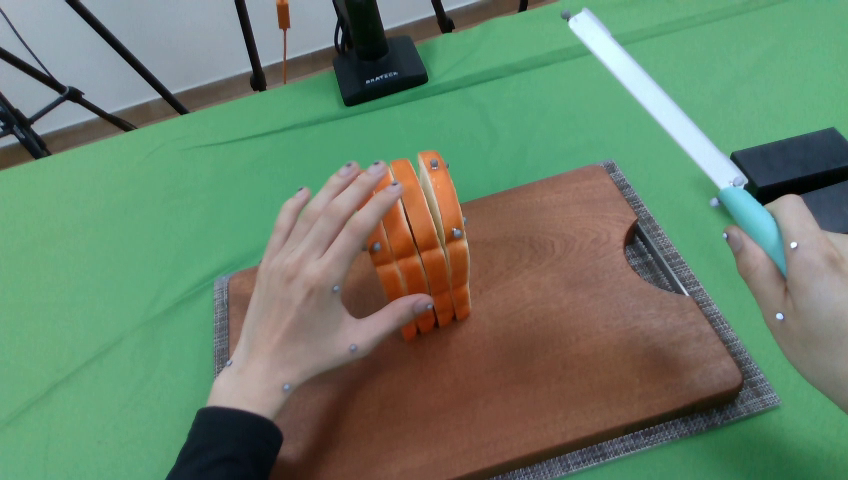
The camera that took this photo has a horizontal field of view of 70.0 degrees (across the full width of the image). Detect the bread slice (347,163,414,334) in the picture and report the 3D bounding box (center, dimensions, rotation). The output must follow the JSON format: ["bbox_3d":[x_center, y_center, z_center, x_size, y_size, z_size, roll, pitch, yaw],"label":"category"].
[{"bbox_3d":[-0.038,0.000,0.515,0.018,0.136,0.106,-18,47,-2],"label":"bread slice"}]

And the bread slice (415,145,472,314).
[{"bbox_3d":[0.016,-0.014,0.516,0.019,0.133,0.103,-15,49,-6],"label":"bread slice"}]

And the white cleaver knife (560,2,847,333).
[{"bbox_3d":[0.194,-0.055,0.402,0.286,0.021,0.066,50,41,2],"label":"white cleaver knife"}]
